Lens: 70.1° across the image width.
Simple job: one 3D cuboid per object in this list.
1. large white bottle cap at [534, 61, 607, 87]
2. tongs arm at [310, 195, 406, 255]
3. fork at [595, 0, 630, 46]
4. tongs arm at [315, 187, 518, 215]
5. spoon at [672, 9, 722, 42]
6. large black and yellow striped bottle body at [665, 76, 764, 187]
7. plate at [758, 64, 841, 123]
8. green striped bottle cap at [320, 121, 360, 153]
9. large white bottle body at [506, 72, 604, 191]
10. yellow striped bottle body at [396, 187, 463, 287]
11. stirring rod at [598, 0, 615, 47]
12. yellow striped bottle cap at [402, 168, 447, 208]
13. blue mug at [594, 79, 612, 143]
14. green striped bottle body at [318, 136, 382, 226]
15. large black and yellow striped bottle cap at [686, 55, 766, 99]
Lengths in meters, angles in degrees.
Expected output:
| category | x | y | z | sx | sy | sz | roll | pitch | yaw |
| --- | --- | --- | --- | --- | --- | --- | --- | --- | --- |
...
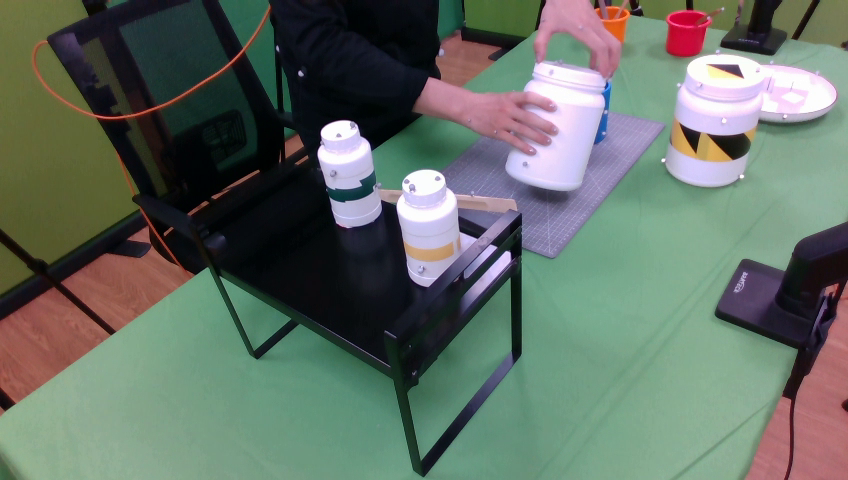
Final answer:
| category | x | y | z | sx | sy | sz | roll | pitch | yaw |
| --- | --- | --- | --- | --- | --- | --- | --- | --- | --- |
| large white bottle cap | 0.231 | -0.263 | 0.956 | 0.115 | 0.018 | 0.114 | 10 | 22 | -3 |
| tongs arm | -0.078 | -0.013 | 0.943 | 0.028 | 0.028 | 0.384 | -42 | 39 | -23 |
| fork | 0.479 | -0.556 | 1.452 | 0.028 | 0.019 | 0.207 | 41 | 103 | 40 |
| tongs arm | -0.028 | -0.060 | 0.988 | 0.381 | 0.027 | 0.051 | 10 | 44 | 36 |
| spoon | 0.606 | -0.476 | 1.345 | 0.042 | 0.021 | 0.193 | -6 | -3 | -2 |
| large black and yellow striped bottle body | 0.482 | -0.196 | 1.008 | 0.131 | 0.185 | 0.130 | -4 | 41 | 4 |
| plate | 0.695 | -0.283 | 1.189 | 0.207 | 0.039 | 0.206 | -4 | 40 | 4 |
| green striped bottle cap | -0.097 | -0.120 | 0.699 | 0.044 | 0.020 | 0.044 | -4 | 39 | 4 |
| large white bottle body | 0.216 | -0.186 | 0.988 | 0.131 | 0.185 | 0.130 | 9 | 22 | -3 |
| yellow striped bottle body | 0.006 | -0.013 | 0.638 | 0.063 | 0.121 | 0.062 | -5 | 41 | 5 |
| stirring rod | 0.437 | -0.551 | 1.462 | 0.014 | 0.006 | 0.175 | -11 | 83 | 1 |
| yellow striped bottle cap | 0.000 | -0.052 | 0.604 | 0.044 | 0.019 | 0.044 | -4 | 44 | 5 |
| blue mug | 0.298 | -0.239 | 1.143 | 0.081 | 0.106 | 0.117 | 30 | 53 | 36 |
| green striped bottle body | -0.090 | -0.080 | 0.733 | 0.063 | 0.120 | 0.063 | -4 | 41 | 4 |
| large black and yellow striped bottle cap | 0.474 | -0.258 | 0.952 | 0.115 | 0.019 | 0.114 | -5 | 41 | 5 |
